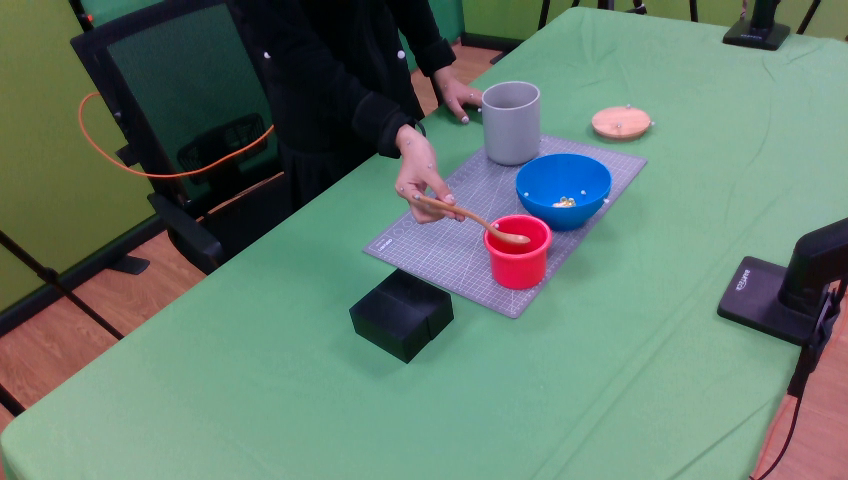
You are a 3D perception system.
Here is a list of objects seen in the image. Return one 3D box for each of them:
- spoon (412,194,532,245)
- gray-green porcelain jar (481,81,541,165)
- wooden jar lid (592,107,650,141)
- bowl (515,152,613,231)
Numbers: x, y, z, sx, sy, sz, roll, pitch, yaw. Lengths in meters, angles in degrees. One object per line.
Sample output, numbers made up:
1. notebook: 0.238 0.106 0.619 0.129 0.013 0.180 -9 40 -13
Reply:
1. spoon: 0.069 -0.029 0.838 0.195 0.021 0.041 24 9 -24
2. gray-green porcelain jar: 0.162 -0.212 1.117 0.106 0.127 0.105 -6 40 5
3. wooden jar lid: 0.382 -0.225 1.178 0.108 0.021 0.108 -5 40 4
4. bowl: 0.224 -0.068 0.972 0.151 0.077 0.150 -5 40 5
